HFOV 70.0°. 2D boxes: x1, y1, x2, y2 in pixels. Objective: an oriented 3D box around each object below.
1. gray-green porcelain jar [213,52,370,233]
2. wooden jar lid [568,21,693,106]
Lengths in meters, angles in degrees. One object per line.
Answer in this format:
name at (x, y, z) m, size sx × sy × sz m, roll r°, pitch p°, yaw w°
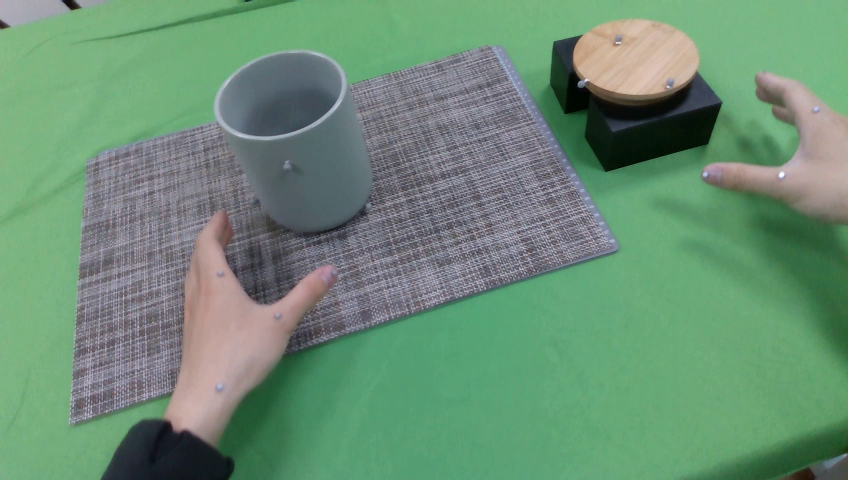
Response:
gray-green porcelain jar at (-0.106, -0.076, 0.519) m, size 0.106 × 0.128 × 0.105 m, roll -4°, pitch 53°, yaw 5°
wooden jar lid at (0.185, -0.159, 0.549) m, size 0.108 × 0.021 × 0.107 m, roll -4°, pitch 55°, yaw 5°
